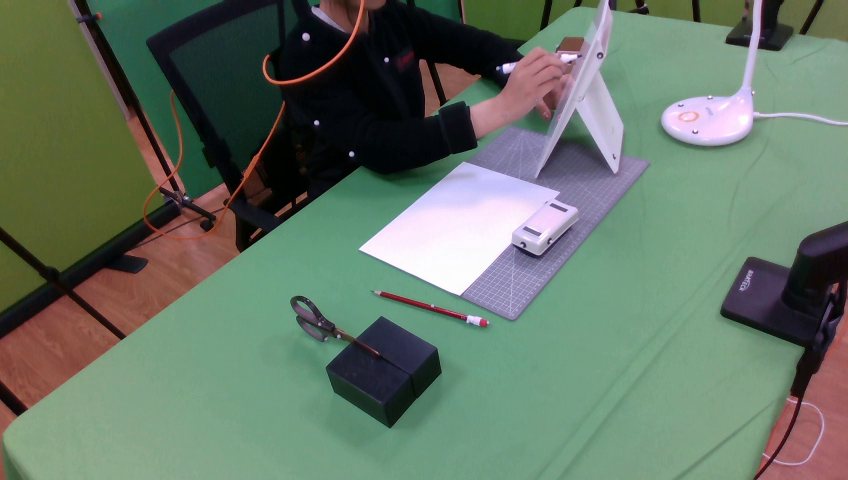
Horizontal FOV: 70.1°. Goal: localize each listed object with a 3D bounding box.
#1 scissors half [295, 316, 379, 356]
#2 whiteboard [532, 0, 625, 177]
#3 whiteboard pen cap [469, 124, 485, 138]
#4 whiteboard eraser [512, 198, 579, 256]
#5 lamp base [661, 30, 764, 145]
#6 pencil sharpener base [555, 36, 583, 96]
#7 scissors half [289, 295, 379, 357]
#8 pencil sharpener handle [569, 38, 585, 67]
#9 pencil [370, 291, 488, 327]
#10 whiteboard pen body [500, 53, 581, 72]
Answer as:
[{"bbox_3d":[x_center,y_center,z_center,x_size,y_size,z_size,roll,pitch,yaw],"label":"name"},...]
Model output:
[{"bbox_3d":[-0.119,0.131,0.813,0.174,0.040,0.013,9,34,45],"label":"scissors half"},{"bbox_3d":[0.320,-0.258,1.050,0.144,0.306,0.217,21,45,5],"label":"whiteboard"},{"bbox_3d":[0.107,-0.220,1.224,0.033,0.018,0.018,-38,48,-24],"label":"whiteboard pen cap"},{"bbox_3d":[0.191,-0.019,0.949,0.055,0.042,0.113,26,51,36],"label":"whiteboard eraser"},{"bbox_3d":[0.535,-0.287,1.096,0.179,0.181,0.159,-10,40,-4],"label":"lamp base"},{"bbox_3d":[0.318,-0.371,1.290,0.061,0.107,0.076,10,44,22],"label":"pencil sharpener base"},{"bbox_3d":[-0.122,0.114,0.803,0.174,0.040,0.013,26,50,32],"label":"scissors half"},{"bbox_3d":[0.333,-0.413,1.318,0.036,0.068,0.030,19,46,13],"label":"pencil sharpener handle"},{"bbox_3d":[0.003,0.097,0.877,0.193,0.012,0.012,13,45,26],"label":"pencil"},{"bbox_3d":[0.199,-0.307,1.038,0.140,0.017,0.017,-4,40,21],"label":"whiteboard pen body"}]
